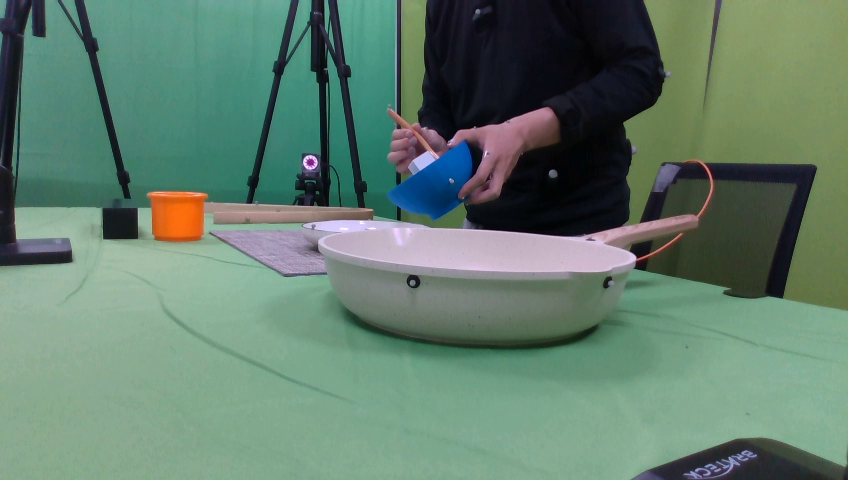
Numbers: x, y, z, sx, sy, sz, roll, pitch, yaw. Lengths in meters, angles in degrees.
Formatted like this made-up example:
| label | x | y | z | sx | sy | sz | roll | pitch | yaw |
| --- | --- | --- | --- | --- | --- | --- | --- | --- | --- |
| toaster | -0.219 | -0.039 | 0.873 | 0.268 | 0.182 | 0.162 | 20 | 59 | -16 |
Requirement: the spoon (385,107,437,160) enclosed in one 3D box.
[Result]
| label | x | y | z | sx | sy | sz | roll | pitch | yaw |
| --- | --- | --- | --- | --- | --- | --- | --- | --- | --- |
| spoon | -0.005 | -0.159 | 0.982 | 0.022 | 0.041 | 0.193 | -30 | 60 | -15 |

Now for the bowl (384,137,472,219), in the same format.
| label | x | y | z | sx | sy | sz | roll | pitch | yaw |
| --- | --- | --- | --- | --- | --- | --- | --- | --- | --- |
| bowl | 0.021 | -0.085 | 0.943 | 0.151 | 0.077 | 0.151 | -34 | 6 | 5 |

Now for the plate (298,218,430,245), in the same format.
| label | x | y | z | sx | sy | sz | roll | pitch | yaw |
| --- | --- | --- | --- | --- | --- | --- | --- | --- | --- |
| plate | -0.091 | -0.006 | 0.949 | 0.208 | 0.039 | 0.207 | 2 | 7 | 0 |

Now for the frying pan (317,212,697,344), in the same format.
| label | x | y | z | sx | sy | sz | roll | pitch | yaw |
| --- | --- | --- | --- | --- | --- | --- | --- | --- | --- |
| frying pan | 0.133 | 0.013 | 0.629 | 0.490 | 0.102 | 0.305 | -12 | 14 | -31 |

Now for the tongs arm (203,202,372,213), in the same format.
| label | x | y | z | sx | sy | sz | roll | pitch | yaw |
| --- | --- | --- | --- | --- | --- | --- | --- | --- | --- |
| tongs arm | -0.312 | -0.068 | 1.417 | 0.387 | 0.026 | 0.050 | 1 | 8 | -24 |

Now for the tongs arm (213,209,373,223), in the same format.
| label | x | y | z | sx | sy | sz | roll | pitch | yaw |
| --- | --- | --- | --- | --- | --- | --- | --- | --- | --- |
| tongs arm | -0.274 | -0.054 | 1.347 | 0.390 | 0.028 | 0.028 | -3 | 6 | -37 |
